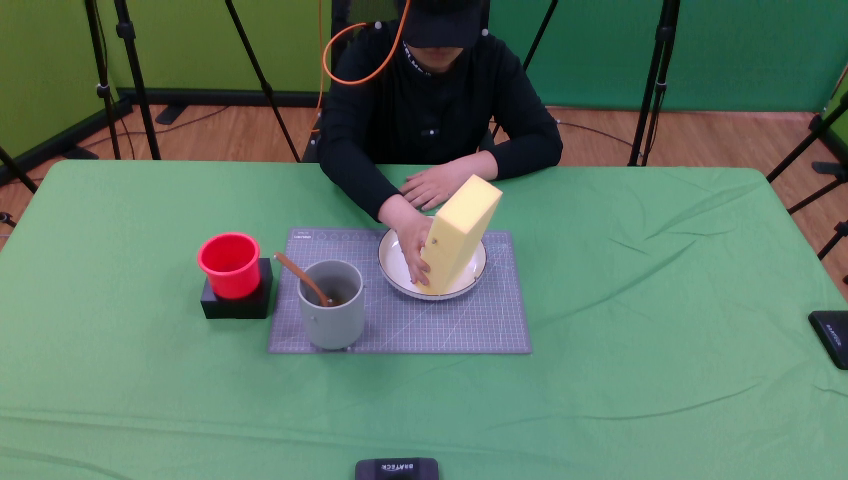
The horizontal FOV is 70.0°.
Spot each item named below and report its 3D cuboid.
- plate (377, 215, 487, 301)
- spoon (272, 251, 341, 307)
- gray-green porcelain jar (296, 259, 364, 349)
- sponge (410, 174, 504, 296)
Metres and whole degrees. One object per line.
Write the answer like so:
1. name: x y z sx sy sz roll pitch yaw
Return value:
1. plate: 0.015 0.037 1.147 0.208 0.039 0.206 2 46 -2
2. spoon: -0.180 0.078 0.982 0.021 0.195 0.041 -9 46 28
3. gray-green porcelain jar: -0.152 0.111 1.003 0.106 0.127 0.105 2 46 -2
4. sponge: 0.053 0.000 1.040 0.061 0.207 0.118 35 51 11
